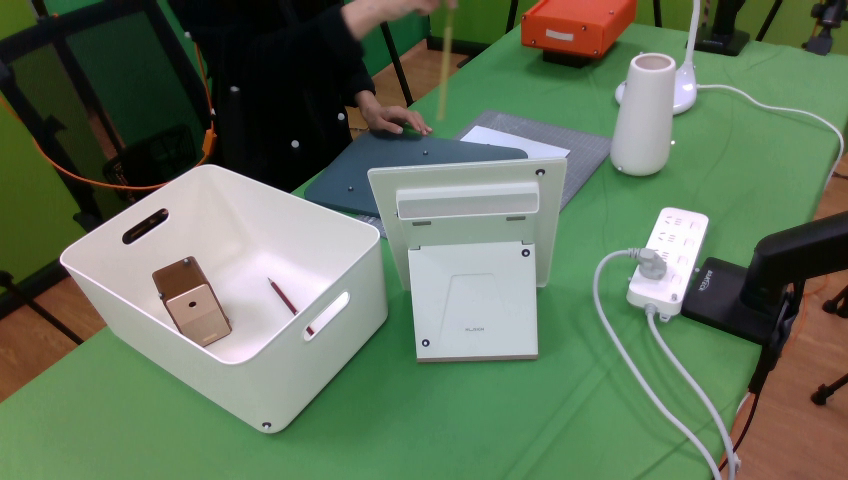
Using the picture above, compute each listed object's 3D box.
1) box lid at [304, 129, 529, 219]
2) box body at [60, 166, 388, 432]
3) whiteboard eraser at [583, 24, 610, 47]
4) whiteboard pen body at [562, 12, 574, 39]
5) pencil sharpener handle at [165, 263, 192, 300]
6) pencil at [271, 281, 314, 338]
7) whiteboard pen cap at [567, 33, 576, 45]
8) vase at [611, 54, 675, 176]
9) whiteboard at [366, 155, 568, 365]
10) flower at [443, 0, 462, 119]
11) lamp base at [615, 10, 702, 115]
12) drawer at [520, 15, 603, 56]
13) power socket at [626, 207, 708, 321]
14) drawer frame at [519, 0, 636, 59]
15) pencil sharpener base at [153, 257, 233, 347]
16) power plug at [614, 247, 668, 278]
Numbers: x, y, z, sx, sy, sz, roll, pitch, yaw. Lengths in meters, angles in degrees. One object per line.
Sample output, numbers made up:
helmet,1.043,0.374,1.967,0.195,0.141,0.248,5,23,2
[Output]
box lid,-0.010,-0.117,1.122,0.369,0.015,0.263,11,44,21
box body,-0.256,0.065,0.827,0.361,0.161,0.255,20,48,29
whiteboard eraser,0.407,-0.479,1.423,0.055,0.042,0.113,-3,9,20
whiteboard pen body,0.341,-0.506,1.430,0.017,0.017,0.140,-2,42,6
pencil sharpener handle,-0.353,0.054,0.867,0.036,0.068,0.030,-18,40,-28
pencil,-0.187,0.106,0.880,0.012,0.012,0.192,-27,41,-22
whiteboard pen cap,0.339,-0.463,1.390,0.018,0.018,0.033,-2,44,5
vase,0.377,-0.209,1.031,0.098,0.201,0.097,-3,40,3
whiteboard,0.059,0.050,0.738,0.217,0.307,0.143,-2,60,5
flower,0.052,-0.335,0.841,0.038,0.362,0.044,28,40,26
lamp base,0.484,-0.364,1.211,0.180,0.181,0.159,-15,42,-14
drawer,0.359,-0.517,1.416,0.193,0.073,0.212,20,47,29
power socket,0.359,0.025,0.886,0.072,0.033,0.227,16,46,26
drawer frame,0.362,-0.518,1.423,0.200,0.083,0.214,19,48,29
pencil sharpener base,-0.321,0.088,0.843,0.061,0.107,0.076,-27,44,-20
power plug,0.306,0.031,0.851,0.072,0.053,0.035,24,49,33
